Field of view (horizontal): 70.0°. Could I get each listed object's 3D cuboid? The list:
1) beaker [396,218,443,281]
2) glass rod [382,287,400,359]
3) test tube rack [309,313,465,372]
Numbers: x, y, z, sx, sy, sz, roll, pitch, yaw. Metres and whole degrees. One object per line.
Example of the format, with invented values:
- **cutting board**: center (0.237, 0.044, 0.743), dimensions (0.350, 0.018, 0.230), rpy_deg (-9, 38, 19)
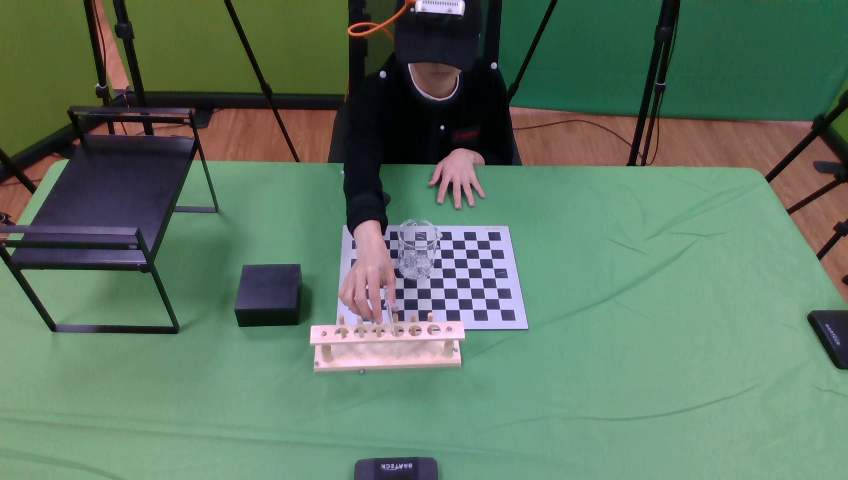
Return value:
- **beaker**: center (-0.010, 0.020, 1.116), dimensions (0.084, 0.101, 0.073), rpy_deg (1, 46, -4)
- **glass rod**: center (-0.049, 0.132, 0.926), dimensions (0.008, 0.201, 0.008), rpy_deg (-3, 50, 3)
- **test tube rack**: center (-0.059, 0.161, 0.990), dimensions (0.242, 0.085, 0.066), rpy_deg (-1, 46, -5)
